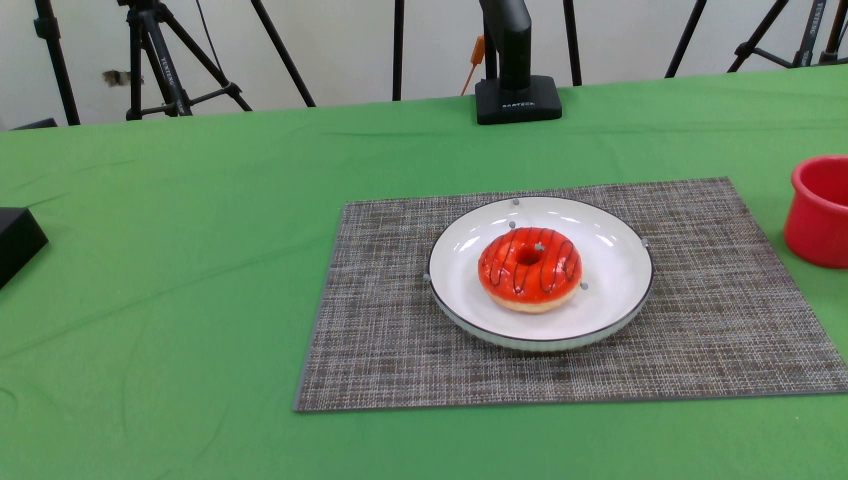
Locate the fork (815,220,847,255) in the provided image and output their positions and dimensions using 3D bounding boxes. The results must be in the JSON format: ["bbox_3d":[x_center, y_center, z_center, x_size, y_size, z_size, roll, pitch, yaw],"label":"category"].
[{"bbox_3d":[0.434,-0.075,0.568,0.019,0.207,0.028,26,6,-16],"label":"fork"}]

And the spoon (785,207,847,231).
[{"bbox_3d":[0.404,-0.032,0.531,0.041,0.193,0.021,-31,90,-17],"label":"spoon"}]

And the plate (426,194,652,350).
[{"bbox_3d":[0.107,0.029,0.581,0.209,0.038,0.207,-4,39,4],"label":"plate"}]

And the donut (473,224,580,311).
[{"bbox_3d":[0.096,0.025,0.571,0.099,0.049,0.098,-5,42,5],"label":"donut"}]
